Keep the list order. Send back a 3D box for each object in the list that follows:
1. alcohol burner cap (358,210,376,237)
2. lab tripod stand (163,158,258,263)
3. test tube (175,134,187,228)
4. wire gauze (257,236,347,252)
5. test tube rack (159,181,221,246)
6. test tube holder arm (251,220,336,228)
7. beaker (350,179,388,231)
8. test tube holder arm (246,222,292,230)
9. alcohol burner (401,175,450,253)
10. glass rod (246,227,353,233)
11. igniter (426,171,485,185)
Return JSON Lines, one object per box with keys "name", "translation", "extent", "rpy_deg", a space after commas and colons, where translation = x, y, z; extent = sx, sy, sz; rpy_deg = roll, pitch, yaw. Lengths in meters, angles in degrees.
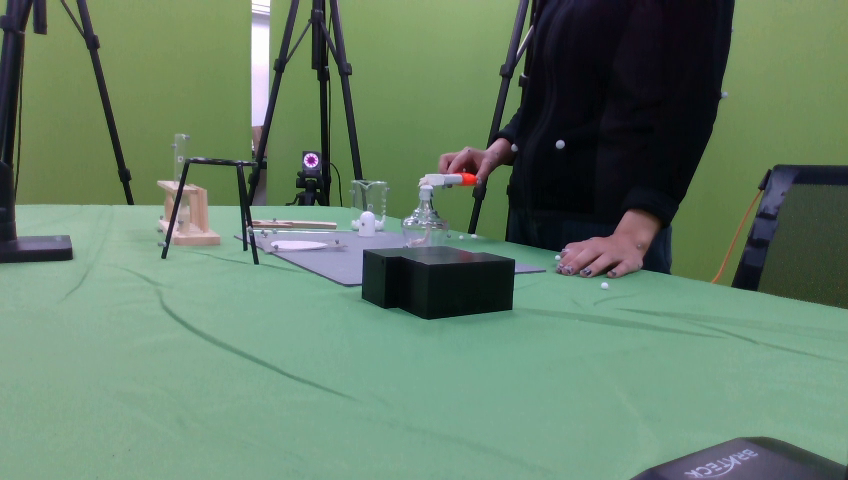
{"name": "alcohol burner cap", "translation": [-0.104, -0.030, 1.098], "extent": [0.034, 0.048, 0.034], "rpy_deg": [3, 7, 0]}
{"name": "lab tripod stand", "translation": [-0.265, -0.041, 0.802], "extent": [0.148, 0.131, 0.148], "rpy_deg": [4, 7, 0]}
{"name": "test tube", "translation": [-0.388, -0.093, 0.964], "extent": [0.017, 0.150, 0.017], "rpy_deg": [1, 2, 0]}
{"name": "wire gauze", "translation": [-0.189, 0.005, 0.931], "extent": [0.122, 0.011, 0.124], "rpy_deg": [1, 7, -21]}
{"name": "test tube rack", "translation": [-0.395, -0.050, 1.010], "extent": [0.067, 0.085, 0.241], "rpy_deg": [-2, 8, -28]}
{"name": "test tube holder arm", "translation": [-0.253, -0.030, 1.155], "extent": [0.179, 0.015, 0.013], "rpy_deg": [-1, 41, -30]}
{"name": "beaker", "translation": [-0.111, -0.069, 1.204], "extent": [0.074, 0.100, 0.084], "rpy_deg": [2, 8, 0]}
{"name": "test tube holder arm", "translation": [-0.291, -0.026, 1.129], "extent": [0.088, 0.015, 0.010], "rpy_deg": [-1, 41, -29]}
{"name": "alcohol burner", "translation": [0.003, -0.040, 0.933], "extent": [0.078, 0.119, 0.078], "rpy_deg": [2, 9, 0]}
{"name": "glass rod", "translation": [-0.224, -0.017, 1.109], "extent": [0.201, 0.008, 0.008], "rpy_deg": [1, 7, -27]}
{"name": "igniter", "translation": [0.060, -0.110, 1.072], "extent": [0.057, 0.025, 0.277], "rpy_deg": [3, 6, 18]}
